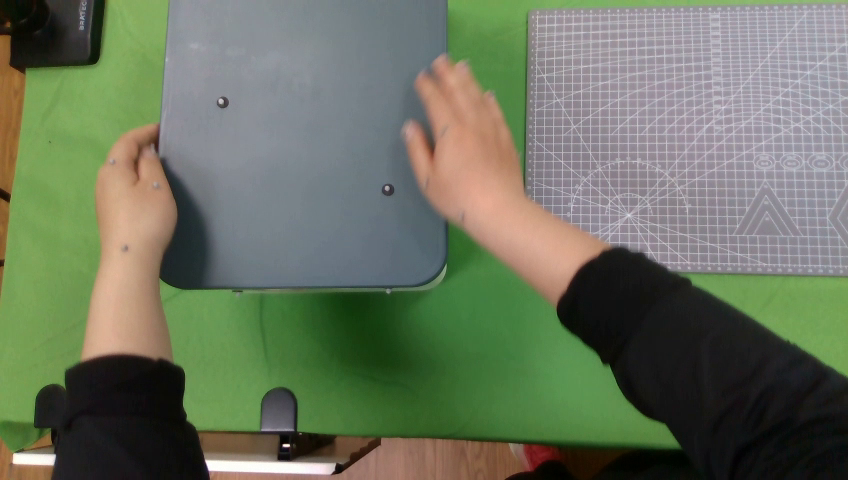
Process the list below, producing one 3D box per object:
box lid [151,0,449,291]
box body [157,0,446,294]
[{"bbox_3d":[-0.110,-0.140,0.547,0.263,0.015,0.370,-1,81,5],"label":"box lid"},{"bbox_3d":[-0.106,-0.124,0.626,0.254,0.161,0.362,-2,81,6],"label":"box body"}]
